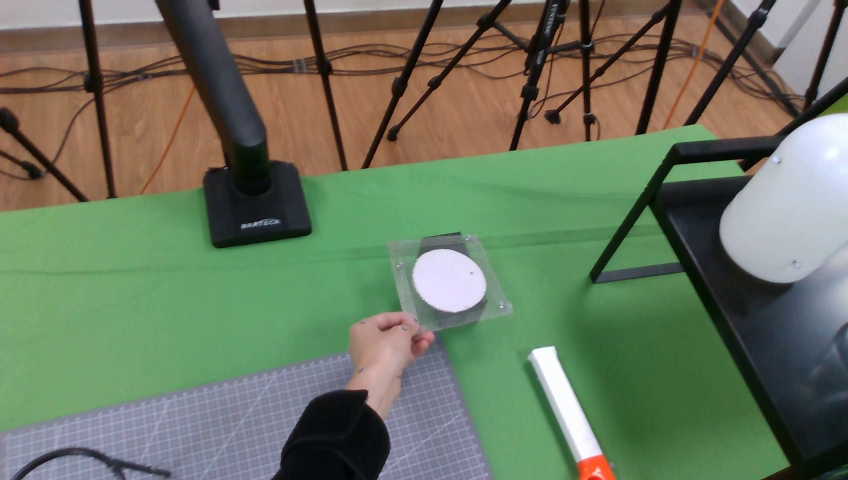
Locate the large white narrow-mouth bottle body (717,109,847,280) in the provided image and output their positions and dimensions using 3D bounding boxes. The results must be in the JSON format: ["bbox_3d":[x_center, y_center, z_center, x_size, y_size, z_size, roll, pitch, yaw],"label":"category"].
[{"bbox_3d":[0.356,-0.052,0.543,0.102,0.196,0.101,5,54,-6],"label":"large white narrow-mouth bottle body"}]

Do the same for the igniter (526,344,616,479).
[{"bbox_3d":[0.173,0.235,0.631,0.057,0.025,0.273,-4,56,-26],"label":"igniter"}]

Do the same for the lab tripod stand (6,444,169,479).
[{"bbox_3d":[-0.268,0.231,0.484,0.149,0.132,0.147,6,54,-8],"label":"lab tripod stand"}]

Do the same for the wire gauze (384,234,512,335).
[{"bbox_3d":[0.025,0.043,0.686,0.122,0.011,0.123,-6,54,-19],"label":"wire gauze"}]
